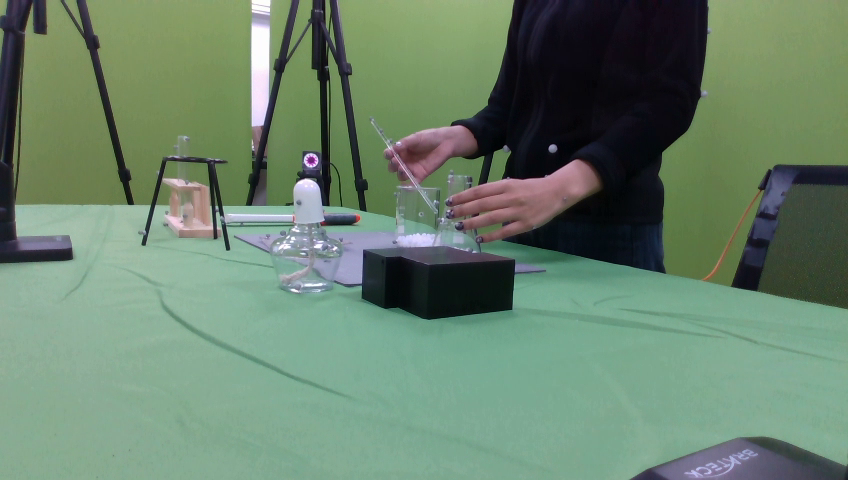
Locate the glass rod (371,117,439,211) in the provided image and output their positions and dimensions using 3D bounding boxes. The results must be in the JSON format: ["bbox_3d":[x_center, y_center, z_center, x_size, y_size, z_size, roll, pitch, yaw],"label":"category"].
[{"bbox_3d":[-0.032,-0.125,0.980,0.008,0.199,0.008,-32,-16,-10],"label":"glass rod"}]

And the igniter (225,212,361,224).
[{"bbox_3d":[-0.262,-0.044,1.240,0.278,0.025,0.057,-2,-1,-31],"label":"igniter"}]

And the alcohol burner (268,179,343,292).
[{"bbox_3d":[-0.124,-0.005,0.637,0.078,0.119,0.078,4,8,0],"label":"alcohol burner"}]

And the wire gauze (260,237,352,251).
[{"bbox_3d":[-0.184,0.004,0.938,0.122,0.011,0.124,-1,5,-24],"label":"wire gauze"}]

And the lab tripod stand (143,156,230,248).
[{"bbox_3d":[-0.338,-0.058,0.908,0.148,0.131,0.148,4,7,0],"label":"lab tripod stand"}]

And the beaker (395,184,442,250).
[{"bbox_3d":[-0.009,-0.038,0.968,0.074,0.100,0.084,6,8,21],"label":"beaker"}]

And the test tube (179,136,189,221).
[{"bbox_3d":[-0.425,-0.108,1.070,0.017,0.150,0.017,4,9,0],"label":"test tube"}]

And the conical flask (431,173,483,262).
[{"bbox_3d":[0.049,-0.033,0.857,0.075,0.122,0.075,2,7,0],"label":"conical flask"}]

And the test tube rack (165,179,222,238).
[{"bbox_3d":[-0.423,-0.062,1.098,0.067,0.085,0.241,-2,9,-28],"label":"test tube rack"}]

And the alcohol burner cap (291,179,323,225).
[{"bbox_3d":[-0.124,-0.040,0.632,0.034,0.048,0.034,-3,10,1],"label":"alcohol burner cap"}]
